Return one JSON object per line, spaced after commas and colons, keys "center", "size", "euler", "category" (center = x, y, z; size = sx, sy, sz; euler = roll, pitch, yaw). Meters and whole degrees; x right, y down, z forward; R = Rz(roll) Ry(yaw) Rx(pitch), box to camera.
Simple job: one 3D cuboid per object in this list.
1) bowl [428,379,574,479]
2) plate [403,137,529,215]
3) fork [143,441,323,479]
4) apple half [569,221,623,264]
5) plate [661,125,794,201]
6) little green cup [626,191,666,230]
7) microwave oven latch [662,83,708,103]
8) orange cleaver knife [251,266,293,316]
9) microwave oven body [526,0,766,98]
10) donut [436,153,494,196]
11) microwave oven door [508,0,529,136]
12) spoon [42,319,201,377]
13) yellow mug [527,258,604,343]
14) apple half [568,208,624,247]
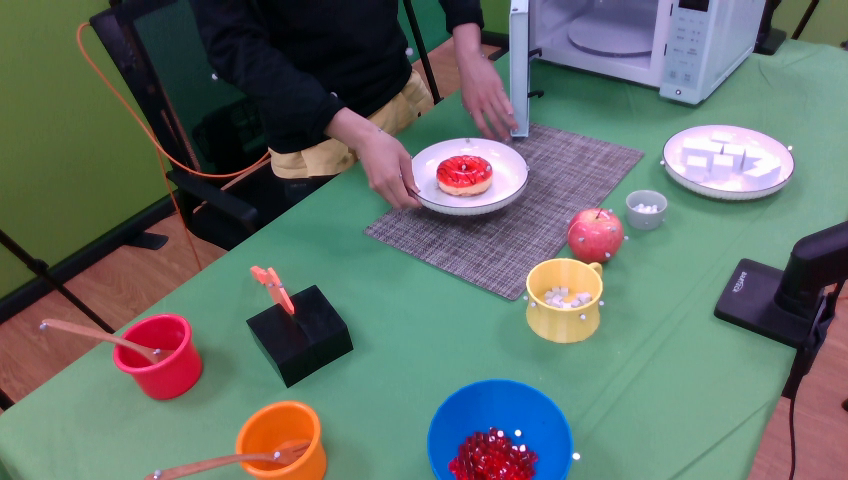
{"center": [0.082, 0.233, 0.644], "size": [0.151, 0.077, 0.150], "euler": [-4, 40, 4], "category": "bowl"}
{"center": [0.071, -0.104, 1.016], "size": [0.209, 0.038, 0.208], "euler": [-2, 40, 2], "category": "plate"}
{"center": [-0.189, 0.231, 0.631], "size": [0.028, 0.018, 0.209], "euler": [36, 13, 37], "category": "fork"}
{"center": [0.251, 0.010, 0.884], "size": [0.081, 0.081, 0.032], "euler": [3, 37, 12], "category": "apple half"}
{"center": [0.513, -0.128, 1.035], "size": [0.207, 0.039, 0.206], "euler": [-4, 40, 4], "category": "plate"}
{"center": [0.352, -0.046, 0.963], "size": [0.061, 0.039, 0.061], "euler": [-4, 40, 4], "category": "little green cup"}
{"center": [0.517, -0.296, 1.204], "size": [0.078, 0.029, 0.030], "euler": [27, 52, 35], "category": "microwave oven latch"}
{"center": [-0.221, 0.071, 0.873], "size": [0.012, 0.077, 0.210], "euler": [-25, 11, -21], "category": "orange cleaver knife"}
{"center": [0.472, -0.513, 1.317], "size": [0.438, 0.261, 0.327], "euler": [25, 51, 34], "category": "microwave oven body"}
{"center": [0.069, -0.111, 1.007], "size": [0.099, 0.048, 0.098], "euler": [-4, 40, 3], "category": "donut"}
{"center": [0.193, -0.407, 1.226], "size": [0.039, 0.245, 0.354], "euler": [0, 41, 10], "category": "microwave oven door"}
{"center": [-0.385, 0.135, 0.779], "size": [0.195, 0.021, 0.041], "euler": [28, 37, -26], "category": "spoon"}
{"center": [0.201, 0.073, 0.825], "size": [0.131, 0.064, 0.099], "euler": [-32, 46, -27], "category": "yellow mug"}
{"center": [0.259, -0.014, 0.914], "size": [0.080, 0.075, 0.053], "euler": [0, 36, 15], "category": "apple half"}
